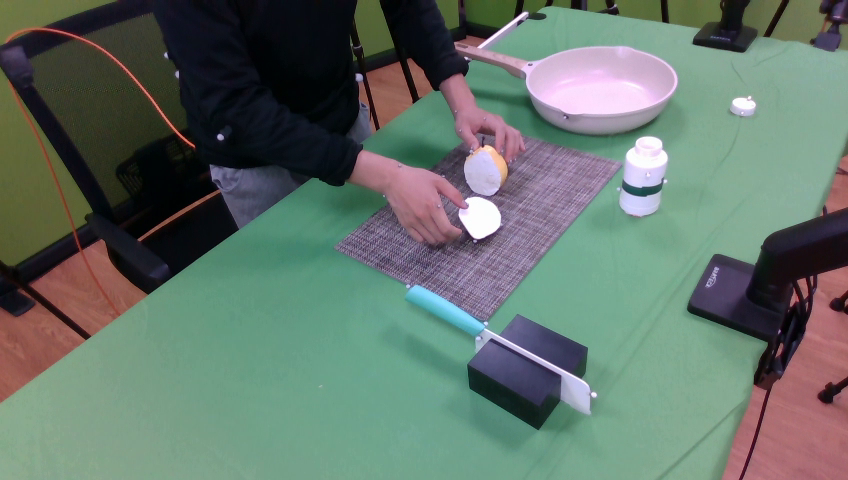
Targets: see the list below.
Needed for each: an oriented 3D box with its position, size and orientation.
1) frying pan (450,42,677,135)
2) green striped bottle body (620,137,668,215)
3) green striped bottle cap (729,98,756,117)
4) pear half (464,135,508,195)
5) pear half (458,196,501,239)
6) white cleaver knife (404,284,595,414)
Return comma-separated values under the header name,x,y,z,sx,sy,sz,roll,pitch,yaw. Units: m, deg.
name,x,y,z,sx,sy,sz,roll,pitch,yaw
frying pan,0.268,-0.344,1.267,0.485,0.103,0.307,26,49,21
green striped bottle body,0.350,-0.103,0.963,0.063,0.120,0.063,-4,41,4
green striped bottle cap,0.623,-0.259,1.182,0.044,0.020,0.044,-3,41,3
pear half,0.110,-0.138,1.039,0.076,0.110,0.056,15,44,20
pear half,0.087,-0.030,0.975,0.070,0.031,0.088,14,55,0
white cleaver knife,0.084,0.135,0.764,0.284,0.066,0.021,28,47,31
